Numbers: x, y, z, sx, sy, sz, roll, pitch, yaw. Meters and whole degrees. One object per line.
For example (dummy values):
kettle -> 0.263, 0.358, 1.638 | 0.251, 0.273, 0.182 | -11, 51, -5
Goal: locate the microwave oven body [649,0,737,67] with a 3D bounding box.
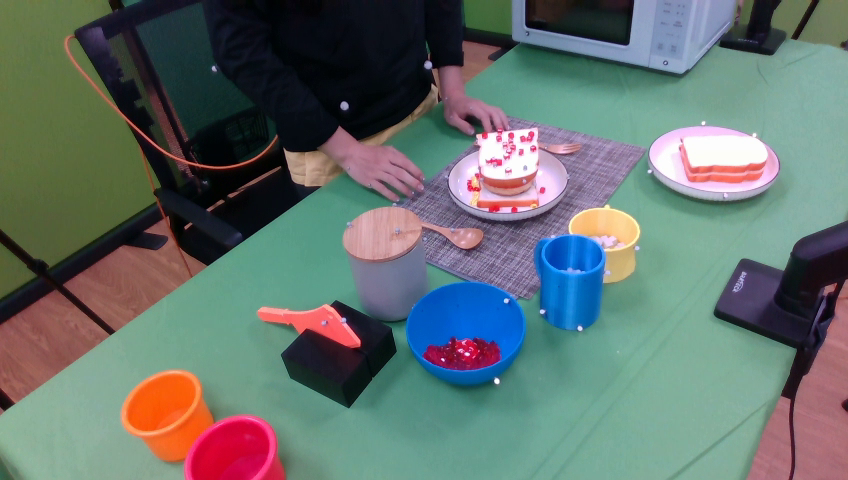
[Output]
microwave oven body -> 0.475, -0.602, 1.411 | 0.438, 0.261, 0.327 | 23, 50, 32

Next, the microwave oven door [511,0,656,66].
microwave oven door -> 0.351, -0.539, 1.349 | 0.353, 0.245, 0.039 | 24, 50, 31

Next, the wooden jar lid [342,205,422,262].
wooden jar lid -> -0.055, -0.006, 0.808 | 0.108, 0.021, 0.108 | -6, 40, 6

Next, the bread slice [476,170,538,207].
bread slice -> 0.144, -0.104, 1.058 | 0.105, 0.019, 0.131 | 0, 43, 6

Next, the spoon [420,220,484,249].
spoon -> 0.010, -0.022, 0.989 | 0.192, 0.022, 0.041 | 17, 67, 25

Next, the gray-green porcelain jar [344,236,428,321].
gray-green porcelain jar -> -0.049, 0.042, 0.849 | 0.106, 0.127, 0.105 | -4, 41, 4

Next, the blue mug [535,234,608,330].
blue mug -> 0.191, 0.048, 0.824 | 0.082, 0.106, 0.115 | -26, 44, -21

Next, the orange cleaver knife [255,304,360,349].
orange cleaver knife -> -0.161, 0.115, 0.813 | 0.210, 0.077, 0.012 | -4, 32, 47

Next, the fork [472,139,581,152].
fork -> 0.194, -0.184, 1.153 | 0.206, 0.019, 0.028 | 7, 53, 14

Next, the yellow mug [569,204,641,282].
yellow mug -> 0.268, -0.005, 0.904 | 0.099, 0.064, 0.130 | 7, 41, 15

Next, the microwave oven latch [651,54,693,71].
microwave oven latch -> 0.532, -0.386, 1.301 | 0.078, 0.029, 0.030 | 27, 52, 34

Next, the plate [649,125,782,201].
plate -> 0.493, -0.128, 1.036 | 0.207, 0.039, 0.206 | -4, 41, 4

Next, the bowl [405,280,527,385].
bowl -> 0.055, 0.131, 0.767 | 0.151, 0.077, 0.150 | -4, 40, 4

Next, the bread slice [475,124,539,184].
bread slice -> 0.143, -0.144, 1.009 | 0.107, 0.018, 0.133 | -7, 46, 7

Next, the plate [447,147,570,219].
plate -> 0.145, -0.098, 1.046 | 0.209, 0.038, 0.208 | -4, 40, 4
